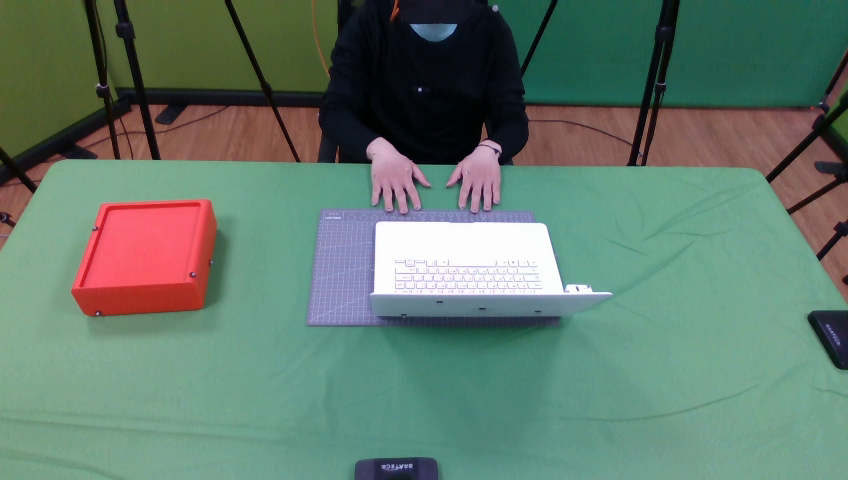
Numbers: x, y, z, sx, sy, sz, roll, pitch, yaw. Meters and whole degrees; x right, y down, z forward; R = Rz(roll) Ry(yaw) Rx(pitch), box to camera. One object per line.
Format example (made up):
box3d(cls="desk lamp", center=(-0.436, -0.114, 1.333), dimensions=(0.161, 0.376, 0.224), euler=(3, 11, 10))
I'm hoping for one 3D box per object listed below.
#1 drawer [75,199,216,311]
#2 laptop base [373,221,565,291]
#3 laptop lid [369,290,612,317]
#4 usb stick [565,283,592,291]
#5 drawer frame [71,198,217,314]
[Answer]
box3d(cls="drawer", center=(-0.494, 0.023, 1.098), dimensions=(0.195, 0.073, 0.210), euler=(-2, 47, -8))
box3d(cls="laptop base", center=(0.080, 0.049, 1.158), dimensions=(0.355, 0.023, 0.234), euler=(0, 43, -4))
box3d(cls="laptop lid", center=(0.091, 0.104, 0.965), dimensions=(0.357, 0.242, 0.013), euler=(1, 75, -5))
box3d(cls="usb stick", center=(0.276, 0.095, 1.113), dimensions=(0.059, 0.027, 0.021), euler=(-1, 47, -6))
box3d(cls="drawer frame", center=(-0.493, 0.023, 1.096), dimensions=(0.202, 0.083, 0.212), euler=(-3, 47, -8))
